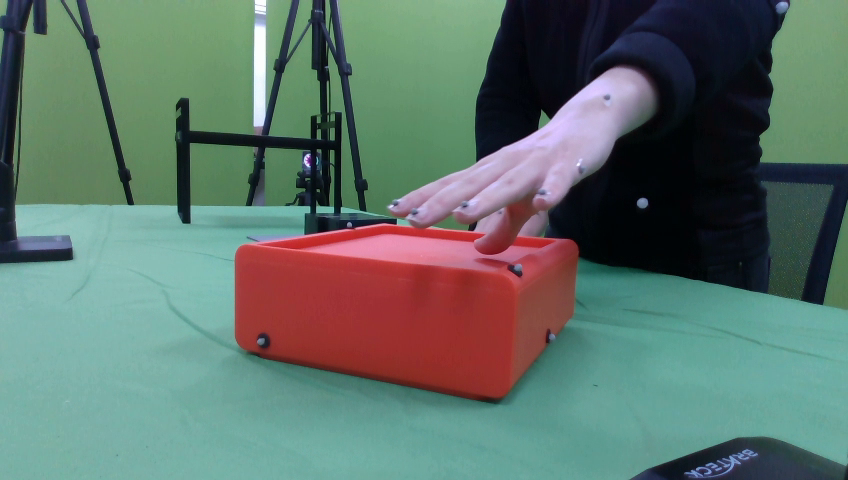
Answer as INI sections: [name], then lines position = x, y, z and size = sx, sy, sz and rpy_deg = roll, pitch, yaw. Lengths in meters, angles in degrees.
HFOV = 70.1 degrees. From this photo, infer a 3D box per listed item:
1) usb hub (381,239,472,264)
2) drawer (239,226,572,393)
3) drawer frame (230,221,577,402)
[usb hub]
position = 0.005, 0.015, 0.852
size = 0.126, 0.025, 0.049
rpy_deg = -3, 8, -36
[drawer]
position = -0.001, 0.040, 0.476
size = 0.194, 0.073, 0.212
rpy_deg = 6, 10, 22
[drawer frame]
position = 0.000, 0.038, 0.474
size = 0.201, 0.082, 0.214
rpy_deg = 6, 9, 22
